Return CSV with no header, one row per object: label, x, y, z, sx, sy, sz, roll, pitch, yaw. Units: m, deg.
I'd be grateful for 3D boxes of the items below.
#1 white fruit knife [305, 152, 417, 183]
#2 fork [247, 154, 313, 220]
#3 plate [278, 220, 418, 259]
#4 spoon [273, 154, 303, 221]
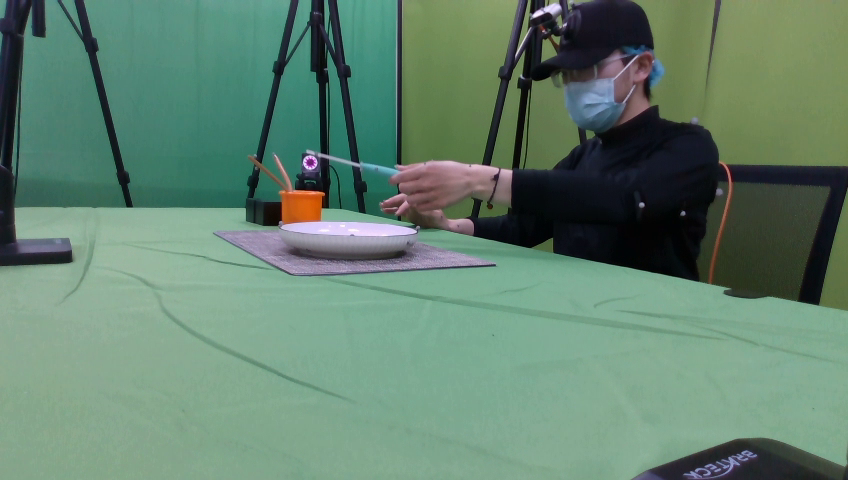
white fruit knife,-0.108,-0.130,1.071,0.208,0.016,0.027,11,-5,-16
fork,-0.275,-0.096,1.188,0.028,0.018,0.208,27,-20,48
plate,-0.114,-0.002,0.914,0.209,0.038,0.209,2,7,0
spoon,-0.280,-0.107,1.247,0.021,0.193,0.042,-28,-29,9
